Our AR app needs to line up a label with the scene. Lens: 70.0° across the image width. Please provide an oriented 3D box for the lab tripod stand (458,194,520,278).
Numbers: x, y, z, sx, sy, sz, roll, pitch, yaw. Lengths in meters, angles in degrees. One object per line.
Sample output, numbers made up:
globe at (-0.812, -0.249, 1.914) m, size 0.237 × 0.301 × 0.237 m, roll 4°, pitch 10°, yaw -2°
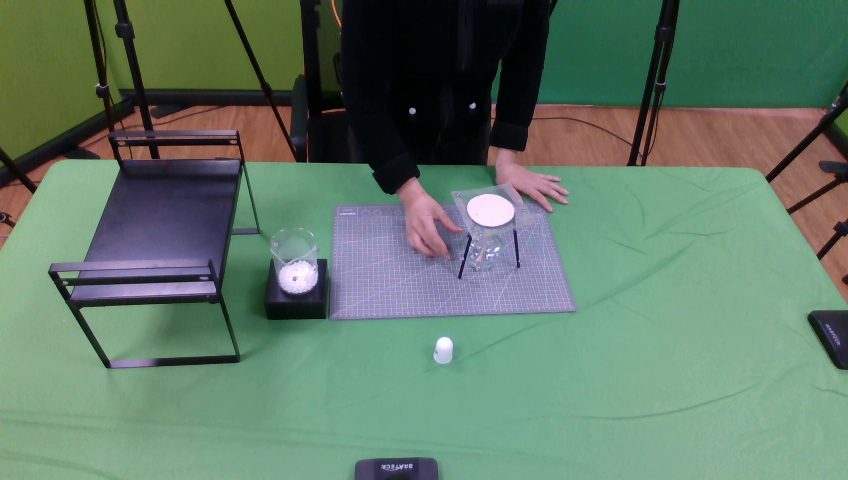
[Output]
lab tripod stand at (0.115, -0.011, 1.135) m, size 0.148 × 0.132 × 0.147 m, roll 1°, pitch 45°, yaw -1°

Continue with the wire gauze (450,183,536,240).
wire gauze at (0.122, -0.057, 1.087) m, size 0.121 × 0.011 × 0.124 m, roll -12°, pitch 47°, yaw -14°

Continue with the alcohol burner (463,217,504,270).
alcohol burner at (0.114, 0.000, 1.139) m, size 0.078 × 0.119 × 0.077 m, roll 3°, pitch 48°, yaw -3°

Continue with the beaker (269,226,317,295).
beaker at (-0.218, 0.040, 1.020) m, size 0.074 × 0.101 × 0.083 m, roll 6°, pitch 47°, yaw 2°

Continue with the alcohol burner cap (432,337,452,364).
alcohol burner cap at (0.031, 0.182, 1.011) m, size 0.034 × 0.048 × 0.033 m, roll 4°, pitch 45°, yaw -4°
